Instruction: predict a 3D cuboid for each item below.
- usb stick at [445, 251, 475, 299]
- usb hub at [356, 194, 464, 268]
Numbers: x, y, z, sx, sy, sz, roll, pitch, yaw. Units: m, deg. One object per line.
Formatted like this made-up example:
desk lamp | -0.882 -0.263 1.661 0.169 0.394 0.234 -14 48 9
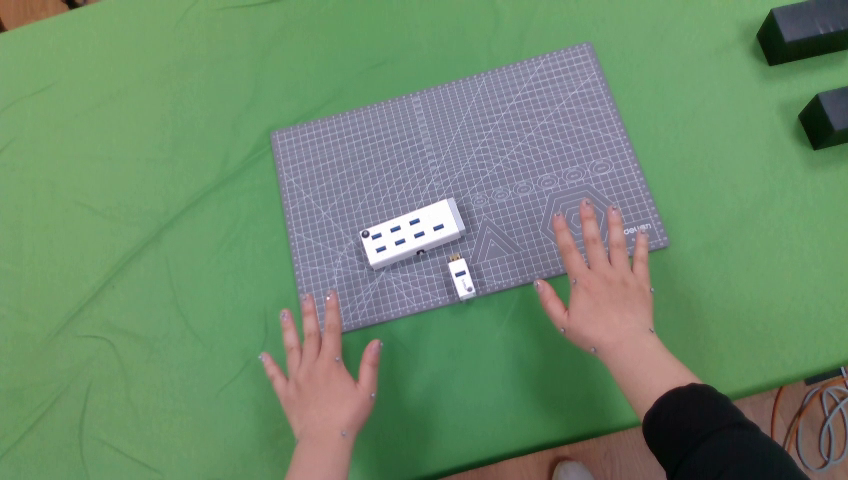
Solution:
usb stick | 0.041 0.038 0.722 0.021 0.027 0.058 -21 68 6
usb hub | -0.018 -0.012 0.746 0.125 0.025 0.049 -21 70 1
